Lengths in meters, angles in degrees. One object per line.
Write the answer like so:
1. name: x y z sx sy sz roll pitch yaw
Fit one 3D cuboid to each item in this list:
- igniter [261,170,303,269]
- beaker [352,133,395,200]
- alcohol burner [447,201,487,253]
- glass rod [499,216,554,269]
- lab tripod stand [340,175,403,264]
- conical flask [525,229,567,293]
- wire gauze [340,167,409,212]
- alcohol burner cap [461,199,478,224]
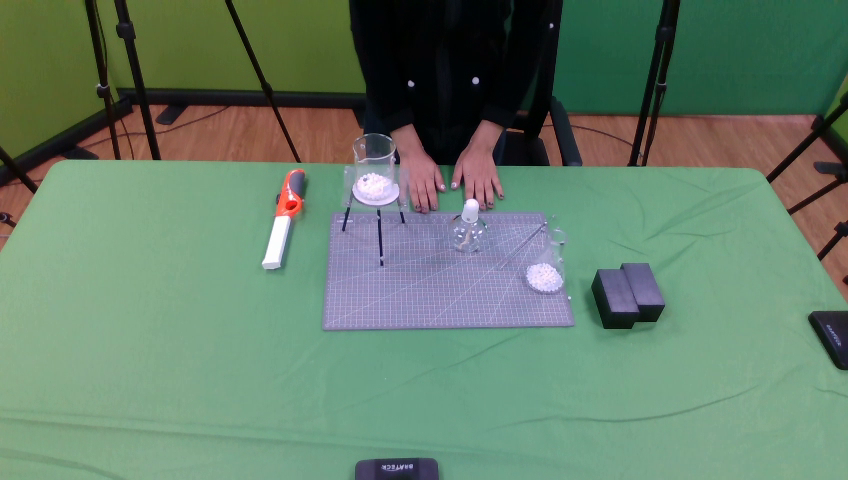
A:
1. igniter: -0.284 -0.050 1.222 0.057 0.025 0.275 -4 45 6
2. beaker: -0.091 -0.126 1.074 0.074 0.101 0.084 26 48 21
3. alcohol burner: 0.085 -0.033 1.171 0.078 0.119 0.077 4 45 -3
4. glass rod: 0.208 0.002 1.219 0.008 0.008 0.199 32 52 25
5. lab tripod stand: -0.093 -0.050 1.160 0.148 0.132 0.147 2 44 -2
6. conical flask: 0.232 0.036 1.110 0.075 0.122 0.075 2 46 -2
7. wire gauze: -0.091 -0.095 1.111 0.125 0.011 0.120 1 43 -2
8. alcohol burner cap: 0.088 -0.057 1.144 0.034 0.048 0.033 2 52 -2
